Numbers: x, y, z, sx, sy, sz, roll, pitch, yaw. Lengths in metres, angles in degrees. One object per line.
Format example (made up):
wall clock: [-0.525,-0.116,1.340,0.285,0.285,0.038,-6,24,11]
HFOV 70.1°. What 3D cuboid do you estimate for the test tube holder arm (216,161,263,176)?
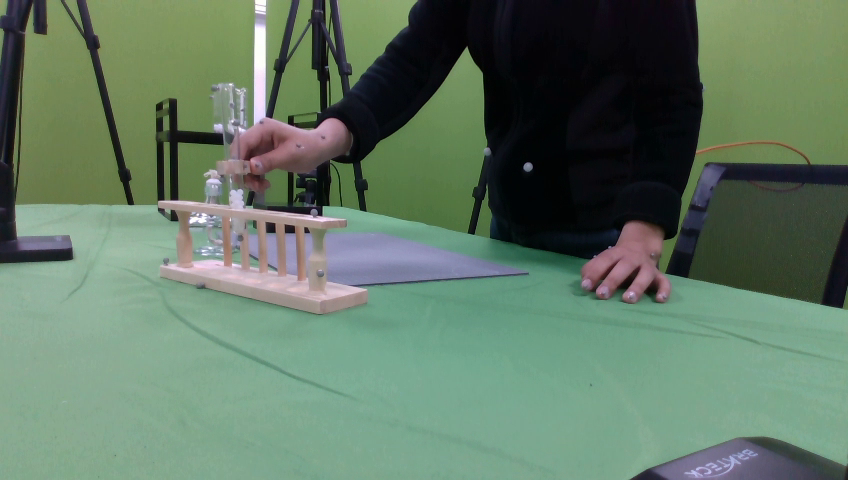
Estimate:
test tube holder arm: [-0.202,-0.081,0.674,0.013,0.015,0.178,3,7,-5]

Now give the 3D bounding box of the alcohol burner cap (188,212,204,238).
alcohol burner cap: [-0.390,-0.029,1.025,0.034,0.048,0.034,2,9,0]

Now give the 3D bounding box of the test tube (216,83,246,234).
test tube: [-0.193,-0.080,0.606,0.017,0.150,0.017,-2,11,1]

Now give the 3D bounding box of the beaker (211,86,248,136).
beaker: [-0.414,-0.274,1.297,0.074,0.100,0.083,-5,11,-44]

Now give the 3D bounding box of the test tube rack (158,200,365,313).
test tube rack: [-0.174,0.009,0.624,0.241,0.085,0.067,7,9,34]

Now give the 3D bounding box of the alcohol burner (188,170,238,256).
alcohol burner: [-0.297,-0.038,0.850,0.078,0.119,0.078,2,6,0]

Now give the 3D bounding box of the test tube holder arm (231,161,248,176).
test tube holder arm: [-0.191,-0.075,0.631,0.010,0.015,0.087,1,8,-12]
